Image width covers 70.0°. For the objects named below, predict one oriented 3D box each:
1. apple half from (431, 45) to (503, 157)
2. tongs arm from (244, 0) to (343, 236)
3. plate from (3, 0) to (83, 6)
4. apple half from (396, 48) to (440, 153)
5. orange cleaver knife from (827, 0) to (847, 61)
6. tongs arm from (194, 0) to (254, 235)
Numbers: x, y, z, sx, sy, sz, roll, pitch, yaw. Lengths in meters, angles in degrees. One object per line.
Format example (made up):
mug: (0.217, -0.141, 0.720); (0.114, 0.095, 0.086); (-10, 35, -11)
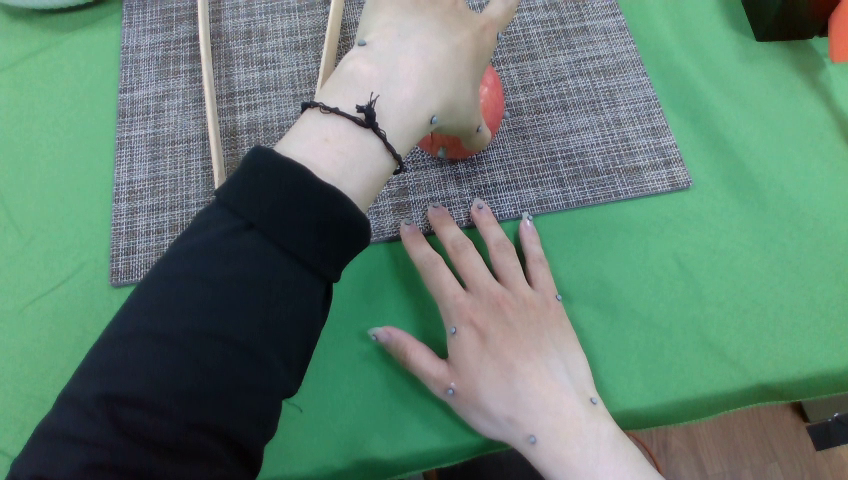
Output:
apple half: (0.033, -0.103, 0.465); (0.053, 0.075, 0.080); (5, 62, 1)
tongs arm: (-0.100, -0.182, 0.528); (0.051, 0.027, 0.382); (1, 66, 1)
plate: (-0.344, -0.302, 0.590); (0.209, 0.038, 0.207); (0, 65, 1)
apple half: (-0.005, -0.104, 0.465); (0.033, 0.082, 0.080); (5, 65, 1)
orange cleaver knife: (0.347, -0.172, 0.482); (0.012, 0.077, 0.212); (-5, 98, 0)
tongs arm: (-0.184, -0.175, 0.529); (0.028, 0.028, 0.384); (-10, 66, -8)
